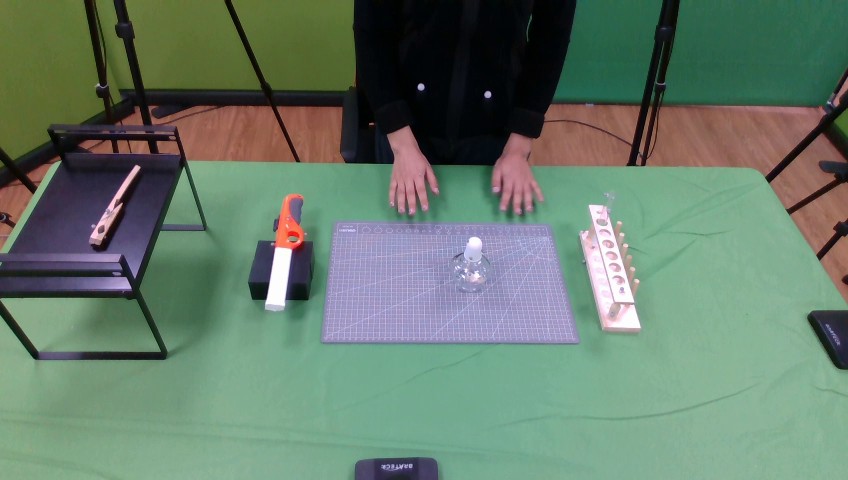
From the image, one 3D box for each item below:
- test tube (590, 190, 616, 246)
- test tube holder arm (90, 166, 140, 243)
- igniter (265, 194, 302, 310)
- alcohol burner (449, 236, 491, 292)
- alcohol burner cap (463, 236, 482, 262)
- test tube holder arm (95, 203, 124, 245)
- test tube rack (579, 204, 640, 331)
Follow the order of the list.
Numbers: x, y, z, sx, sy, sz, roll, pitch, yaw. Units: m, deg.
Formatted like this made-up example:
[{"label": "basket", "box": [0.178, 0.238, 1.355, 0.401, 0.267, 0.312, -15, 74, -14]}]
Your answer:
[{"label": "test tube", "box": [0.338, -0.038, 1.149, 0.017, 0.151, 0.017, 0, 50, 0]}, {"label": "test tube holder arm", "box": [-0.492, -0.061, 0.970, 0.013, 0.015, 0.177, 28, 39, -24]}, {"label": "igniter", "box": [-0.253, 0.011, 1.099, 0.057, 0.025, 0.274, 9, 46, -12]}, {"label": "alcohol burner", "box": [0.086, 0.038, 1.101, 0.078, 0.119, 0.077, 3, 45, -2]}, {"label": "alcohol burner cap", "box": [0.088, 0.014, 1.075, 0.034, 0.048, 0.033, 1, 52, -1]}, {"label": "test tube holder arm", "box": [-0.488, -0.027, 0.940, 0.010, 0.015, 0.087, 29, 38, -23]}, {"label": "test tube rack", "box": [0.353, 0.047, 1.137, 0.067, 0.085, 0.241, 2, 46, -2]}]
